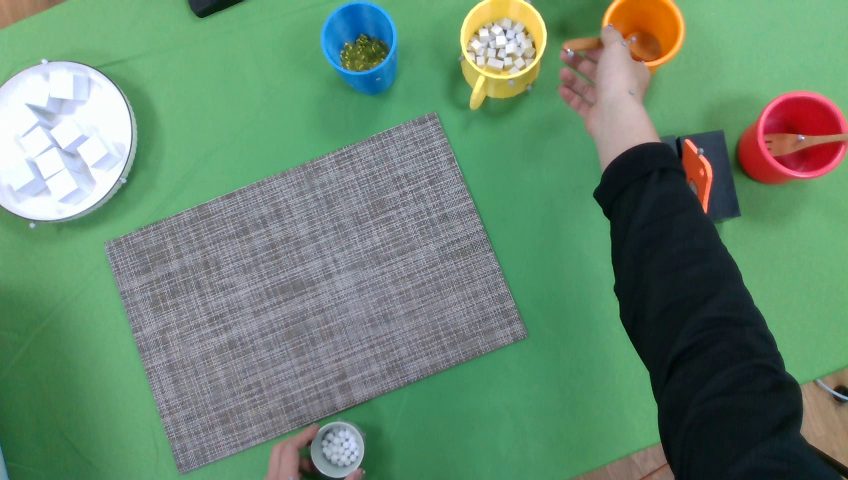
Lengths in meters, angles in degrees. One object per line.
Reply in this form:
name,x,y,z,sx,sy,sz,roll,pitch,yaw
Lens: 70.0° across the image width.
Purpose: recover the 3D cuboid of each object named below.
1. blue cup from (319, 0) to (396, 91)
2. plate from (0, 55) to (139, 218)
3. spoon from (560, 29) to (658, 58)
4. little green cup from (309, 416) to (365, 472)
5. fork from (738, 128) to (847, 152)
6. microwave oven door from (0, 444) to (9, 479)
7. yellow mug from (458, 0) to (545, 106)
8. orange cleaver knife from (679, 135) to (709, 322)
blue cup,-0.071,-0.222,0.720,0.092,0.100,0.092,0,85,3
plate,-0.457,-0.128,0.766,0.207,0.039,0.207,0,84,4
spoon,0.210,-0.222,0.679,0.021,0.194,0.041,-32,78,45
little green cup,-0.098,0.236,0.707,0.061,0.039,0.061,-1,83,7
fork,0.451,-0.114,0.653,0.206,0.019,0.028,2,80,46
microwave oven door,-0.523,0.269,0.609,0.039,0.244,0.354,-19,83,2
yellow mug,0.085,-0.220,0.727,0.100,0.064,0.130,26,87,6
orange cleaver knife,0.301,-0.010,0.684,0.012,0.076,0.213,-7,113,5
